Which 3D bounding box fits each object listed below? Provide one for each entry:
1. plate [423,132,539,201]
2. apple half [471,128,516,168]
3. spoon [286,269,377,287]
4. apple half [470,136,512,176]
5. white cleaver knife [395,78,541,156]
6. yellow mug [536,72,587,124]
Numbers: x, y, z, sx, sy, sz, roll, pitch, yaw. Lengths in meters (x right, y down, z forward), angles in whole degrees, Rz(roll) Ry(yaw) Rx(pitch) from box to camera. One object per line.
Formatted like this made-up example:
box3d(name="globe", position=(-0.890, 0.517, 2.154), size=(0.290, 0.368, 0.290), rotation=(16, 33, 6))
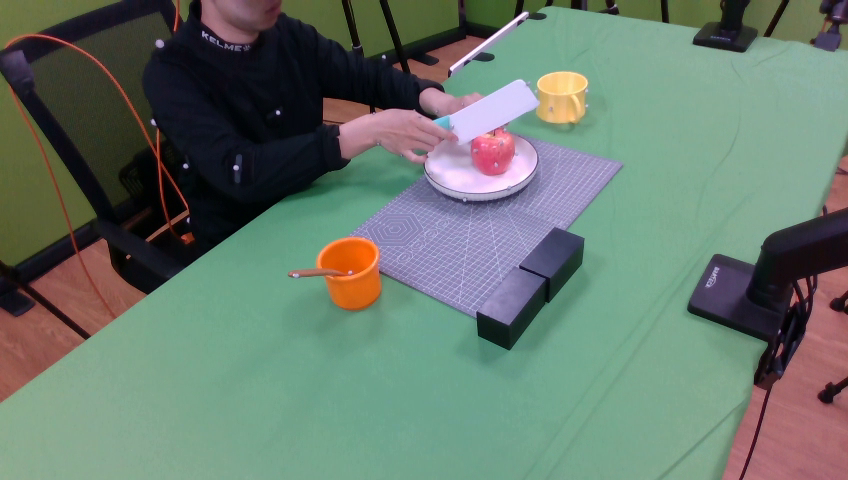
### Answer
box3d(name="plate", position=(0.102, -0.132, 1.093), size=(0.209, 0.038, 0.208), rotation=(-4, 40, 4))
box3d(name="apple half", position=(0.129, -0.165, 1.087), size=(0.080, 0.075, 0.053), rotation=(7, 38, 23))
box3d(name="spoon", position=(-0.125, 0.049, 0.831), size=(0.041, 0.195, 0.021), rotation=(22, 93, 28))
box3d(name="apple half", position=(0.114, -0.141, 1.059), size=(0.081, 0.081, 0.033), rotation=(10, 38, 20))
box3d(name="white cleaver knife", position=(0.065, -0.198, 1.051), size=(0.285, 0.066, 0.021), rotation=(-19, 27, 33))
box3d(name="yellow mug", position=(0.285, -0.281, 1.222), size=(0.100, 0.064, 0.130), rotation=(-16, 42, -9))
